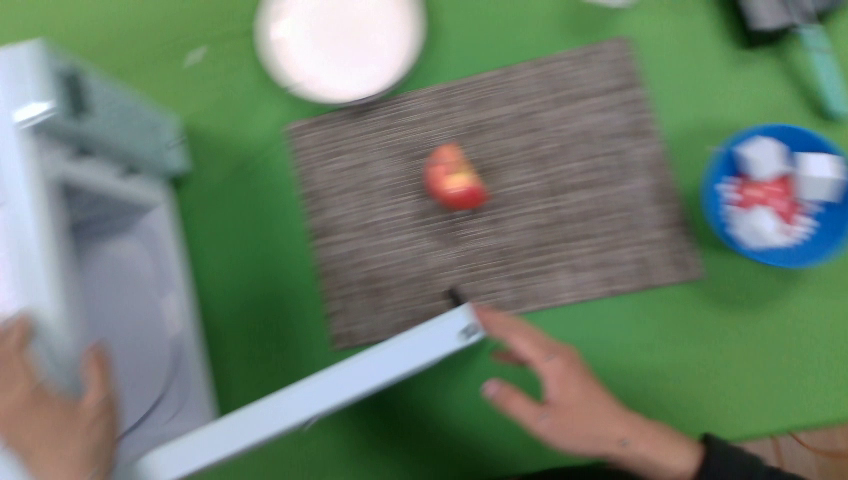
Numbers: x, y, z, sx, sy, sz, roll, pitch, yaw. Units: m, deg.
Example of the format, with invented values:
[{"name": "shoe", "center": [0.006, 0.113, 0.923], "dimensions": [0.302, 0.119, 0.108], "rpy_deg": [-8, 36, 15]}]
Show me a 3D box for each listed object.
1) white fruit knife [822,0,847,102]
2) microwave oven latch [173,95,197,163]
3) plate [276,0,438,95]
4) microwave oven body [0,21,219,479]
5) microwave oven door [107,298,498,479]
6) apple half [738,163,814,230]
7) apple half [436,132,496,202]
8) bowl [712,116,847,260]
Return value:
[{"name": "white fruit knife", "center": [0.447, -0.234, 0.661], "dimensions": [0.016, 0.027, 0.208], "rpy_deg": [-19, 98, 24]}, {"name": "microwave oven latch", "center": [-0.313, -0.141, 0.772], "dimensions": [0.030, 0.029, 0.079], "rpy_deg": [-13, 83, 6]}, {"name": "plate", "center": [-0.084, -0.281, 0.772], "dimensions": [0.207, 0.039, 0.207], "rpy_deg": [-1, 84, 8]}, {"name": "microwave oven body", "center": [-0.433, 0.053, 0.672], "dimensions": [0.326, 0.261, 0.440], "rpy_deg": [-14, 83, 6]}, {"name": "microwave oven door", "center": [-0.096, 0.148, 0.608], "dimensions": [0.356, 0.245, 0.039], "rpy_deg": [-27, 80, 5]}, {"name": "apple half", "center": [0.383, -0.049, 0.652], "dimensions": [0.081, 0.033, 0.081], "rpy_deg": [-1, 83, 10]}, {"name": "apple half", "center": [0.043, -0.078, 0.710], "dimensions": [0.053, 0.075, 0.080], "rpy_deg": [-33, 84, 9]}, {"name": "bowl", "center": [0.384, -0.049, 0.657], "dimensions": [0.151, 0.077, 0.151], "rpy_deg": [-1, 84, 9]}]
